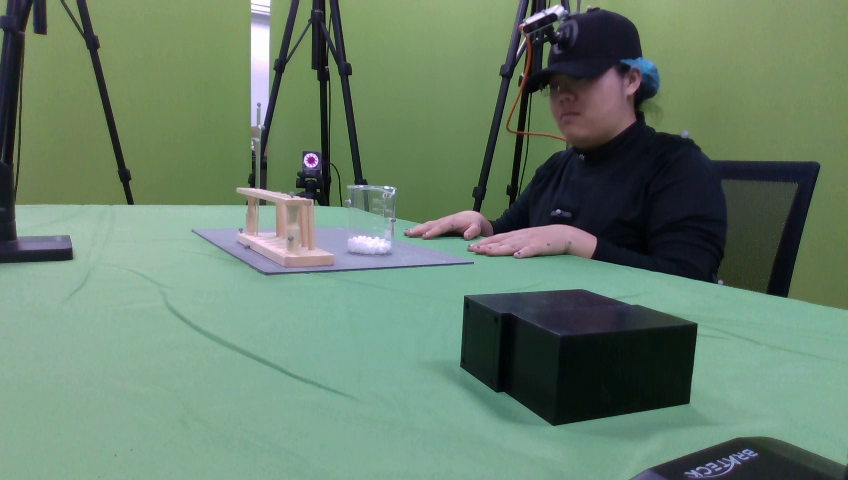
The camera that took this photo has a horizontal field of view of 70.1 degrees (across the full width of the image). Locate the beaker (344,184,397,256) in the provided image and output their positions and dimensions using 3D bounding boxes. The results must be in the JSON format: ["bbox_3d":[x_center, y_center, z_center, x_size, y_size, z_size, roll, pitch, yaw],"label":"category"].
[{"bbox_3d":[-0.077,-0.030,0.886,0.083,0.100,0.074,9,10,39],"label":"beaker"}]

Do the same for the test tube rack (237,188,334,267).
[{"bbox_3d":[-0.202,-0.024,0.855,0.067,0.085,0.241,-2,8,-30],"label":"test tube rack"}]

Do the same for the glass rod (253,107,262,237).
[{"bbox_3d":[-0.251,-0.101,0.912,0.008,0.199,0.008,3,3,0],"label":"glass rod"}]
